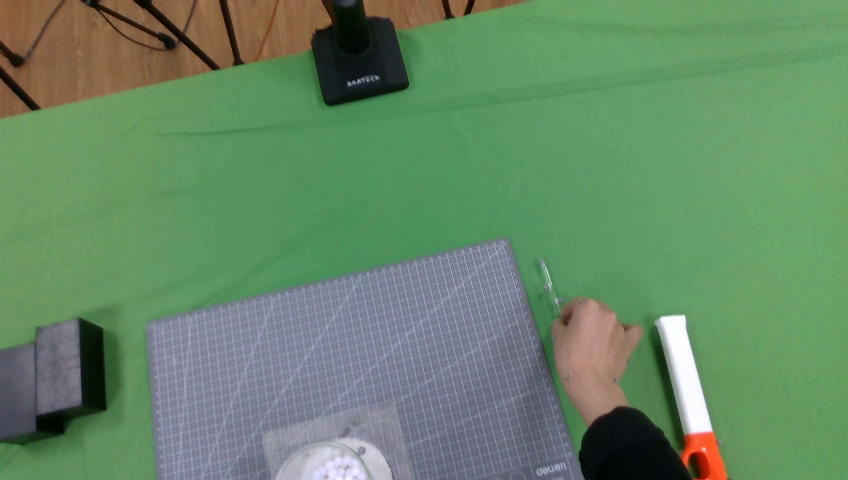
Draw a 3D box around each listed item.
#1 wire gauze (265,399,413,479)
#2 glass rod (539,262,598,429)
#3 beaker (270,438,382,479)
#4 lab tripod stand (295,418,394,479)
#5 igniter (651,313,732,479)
[{"bbox_3d":[-0.073,0.213,0.531,0.125,0.011,0.120,-14,67,-1],"label":"wire gauze"},{"bbox_3d":[0.164,0.116,0.696,0.008,0.008,0.198,-14,70,-3],"label":"glass rod"},{"bbox_3d":[-0.070,0.203,0.483,0.083,0.101,0.074,42,76,18],"label":"beaker"},{"bbox_3d":[-0.070,0.240,0.592,0.148,0.132,0.147,-2,68,4],"label":"lab tripod stand"},{"bbox_3d":[0.290,0.214,0.646,0.057,0.025,0.274,-2,68,-10],"label":"igniter"}]
